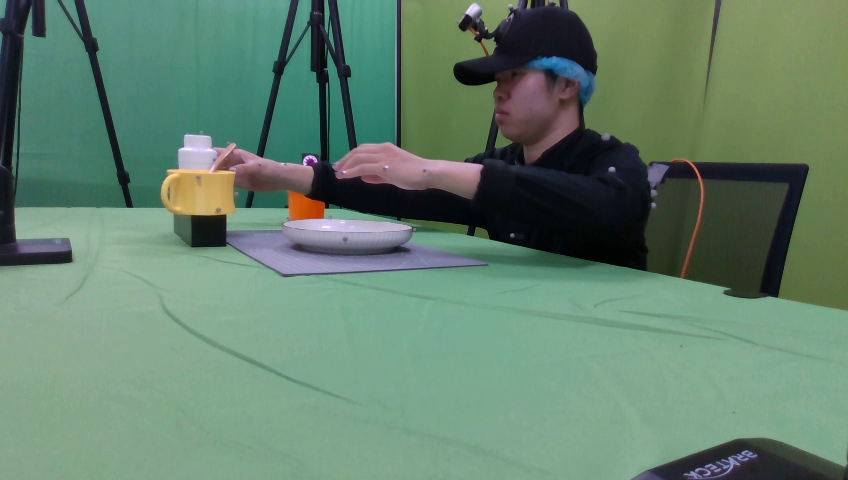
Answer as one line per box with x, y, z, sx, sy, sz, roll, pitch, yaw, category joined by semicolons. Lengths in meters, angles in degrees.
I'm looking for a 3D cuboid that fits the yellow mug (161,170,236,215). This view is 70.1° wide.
-0.354;-0.074;0.935;0.099;0.064;0.131;5;9;21;yellow mug

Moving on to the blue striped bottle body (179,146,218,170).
-0.392;-0.119;1.053;0.063;0.120;0.063;2;8;0;blue striped bottle body

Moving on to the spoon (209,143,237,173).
-0.341;-0.113;0.990;0.041;0.021;0.193;1;39;7;spoon

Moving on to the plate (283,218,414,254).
-0.120;-0.007;0.971;0.208;0.039;0.207;2;7;0;plate

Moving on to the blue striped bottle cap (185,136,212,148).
-0.390;-0.170;1.047;0.044;0.020;0.044;3;12;0;blue striped bottle cap
